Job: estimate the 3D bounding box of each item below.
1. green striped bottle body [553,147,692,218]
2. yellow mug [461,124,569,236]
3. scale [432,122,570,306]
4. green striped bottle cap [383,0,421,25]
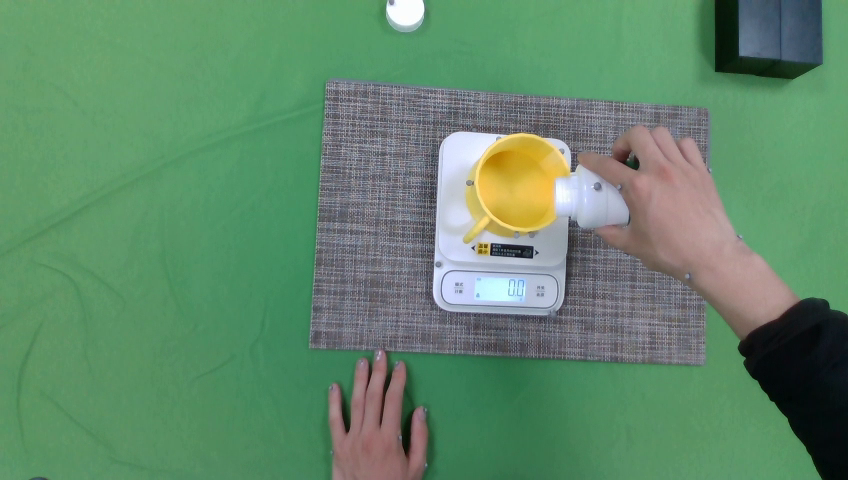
[{"bbox_3d":[0.183,-0.053,0.571,0.119,0.063,0.063,-3,86,8],"label":"green striped bottle body"},{"bbox_3d":[0.084,-0.053,0.629,0.100,0.064,0.131,43,85,-1],"label":"yellow mug"},{"bbox_3d":[0.086,-0.028,0.675,0.149,0.031,0.200,2,87,-4],"label":"scale"},{"bbox_3d":[-0.025,-0.272,0.694,0.044,0.020,0.044,0,89,-4],"label":"green striped bottle cap"}]
